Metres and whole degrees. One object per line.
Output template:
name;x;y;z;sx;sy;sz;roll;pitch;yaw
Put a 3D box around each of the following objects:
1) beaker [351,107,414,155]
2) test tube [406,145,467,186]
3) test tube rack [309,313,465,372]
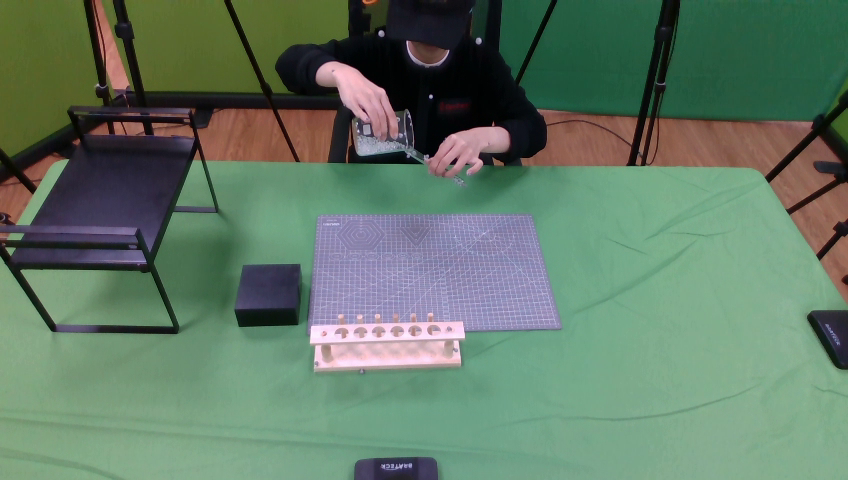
beaker;-0.074;-0.187;1.065;0.100;0.084;0.073;-9;42;-9
test tube;0.026;-0.138;1.140;0.151;0.017;0.017;27;35;-34
test tube rack;-0.059;0.161;0.990;0.242;0.085;0.066;-1;46;-5
